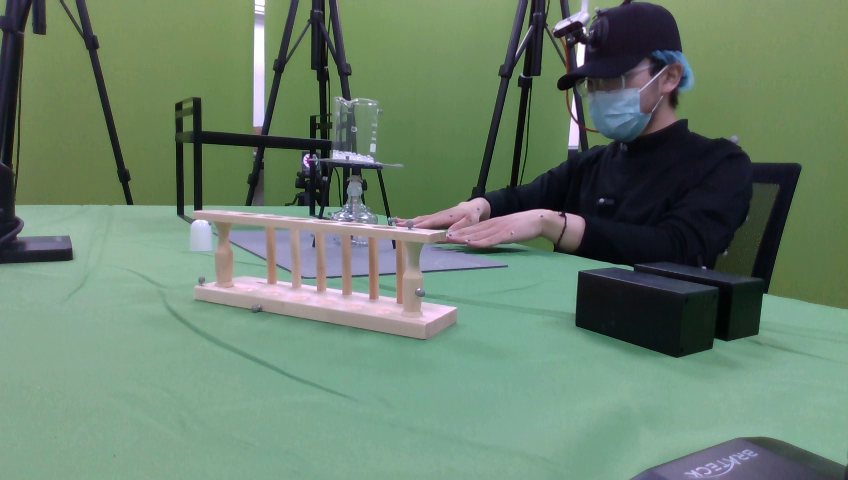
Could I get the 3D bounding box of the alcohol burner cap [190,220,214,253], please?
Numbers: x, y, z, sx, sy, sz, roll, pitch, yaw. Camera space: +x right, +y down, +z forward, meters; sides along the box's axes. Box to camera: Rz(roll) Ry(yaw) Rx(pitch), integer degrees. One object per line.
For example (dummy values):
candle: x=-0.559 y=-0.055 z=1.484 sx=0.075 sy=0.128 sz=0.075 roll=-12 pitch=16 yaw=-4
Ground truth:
alcohol burner cap: x=-0.321 y=-0.006 z=0.875 sx=0.034 sy=0.048 sz=0.034 roll=4 pitch=8 yaw=0

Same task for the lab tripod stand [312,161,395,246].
lab tripod stand: x=-0.110 y=-0.058 z=0.970 sx=0.148 sy=0.131 sz=0.148 roll=4 pitch=6 yaw=0

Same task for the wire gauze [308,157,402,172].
wire gauze: x=-0.111 y=-0.122 z=0.956 sx=0.125 sy=0.011 sz=0.121 roll=4 pitch=8 yaw=-22

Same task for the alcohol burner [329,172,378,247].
alcohol burner: x=-0.113 y=-0.049 z=0.972 sx=0.078 sy=0.119 sz=0.078 roll=1 pitch=9 yaw=0

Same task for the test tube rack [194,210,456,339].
test tube rack: x=-0.093 y=0.023 z=0.545 sx=0.241 sy=0.085 sz=0.067 roll=6 pitch=8 yaw=25

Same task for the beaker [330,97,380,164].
beaker: x=-0.111 y=-0.171 z=0.953 sx=0.074 sy=0.100 sz=0.084 roll=5 pitch=8 yaw=7
